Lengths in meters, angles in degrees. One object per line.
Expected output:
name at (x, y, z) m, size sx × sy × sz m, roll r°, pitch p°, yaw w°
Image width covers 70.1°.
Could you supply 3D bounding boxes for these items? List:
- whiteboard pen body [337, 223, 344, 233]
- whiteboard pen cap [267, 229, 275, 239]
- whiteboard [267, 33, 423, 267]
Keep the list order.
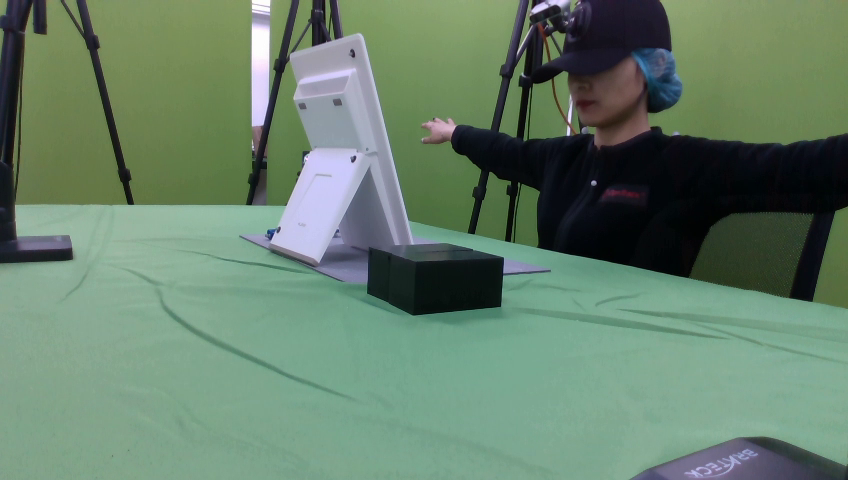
whiteboard pen body at (-0.195, -0.016, 1.034) m, size 0.141 × 0.017 × 0.017 m, roll -6°, pitch 11°, yaw -39°
whiteboard pen cap at (-0.240, -0.011, 0.996) m, size 0.033 × 0.018 × 0.018 m, roll -5°, pitch 10°, yaw -38°
whiteboard at (-0.153, -0.098, 0.819) m, size 0.144 × 0.305 × 0.216 m, roll -25°, pitch 21°, yaw -29°
